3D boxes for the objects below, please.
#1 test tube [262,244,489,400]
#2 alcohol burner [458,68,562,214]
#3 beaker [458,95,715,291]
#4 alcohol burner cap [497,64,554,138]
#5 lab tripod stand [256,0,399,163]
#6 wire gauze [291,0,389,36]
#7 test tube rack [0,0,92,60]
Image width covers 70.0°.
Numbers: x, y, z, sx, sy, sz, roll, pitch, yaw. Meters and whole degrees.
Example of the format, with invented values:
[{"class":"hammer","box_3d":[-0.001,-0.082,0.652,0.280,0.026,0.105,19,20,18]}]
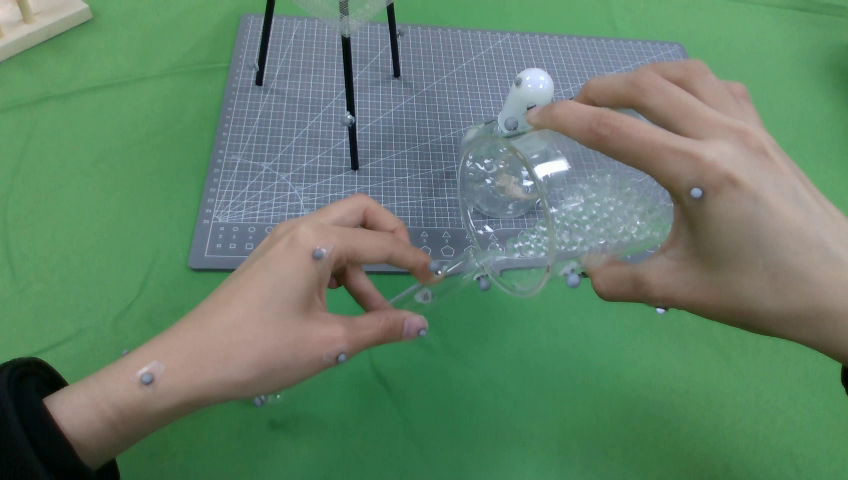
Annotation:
[{"class":"test tube","box_3d":[-0.030,0.047,0.324,0.150,0.017,0.017,-34,55,17]},{"class":"alcohol burner","box_3d":[0.066,-0.074,0.435,0.078,0.120,0.077,5,51,-6]},{"class":"beaker","box_3d":[0.076,-0.024,0.287,0.100,0.084,0.073,-18,68,-21]},{"class":"alcohol burner cap","box_3d":[0.070,-0.095,0.406,0.034,0.048,0.033,4,57,-5]},{"class":"lab tripod stand","box_3d":[-0.066,-0.155,0.464,0.149,0.132,0.147,5,53,-6]},{"class":"wire gauze","box_3d":[-0.061,-0.195,0.410,0.124,0.011,0.121,34,57,15]},{"class":"test tube rack","box_3d":[-0.395,-0.173,0.465,0.066,0.086,0.241,33,56,16]}]
